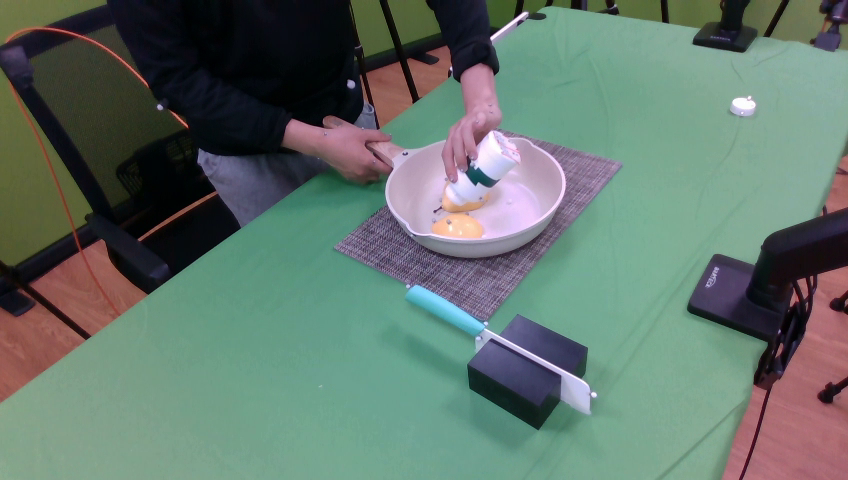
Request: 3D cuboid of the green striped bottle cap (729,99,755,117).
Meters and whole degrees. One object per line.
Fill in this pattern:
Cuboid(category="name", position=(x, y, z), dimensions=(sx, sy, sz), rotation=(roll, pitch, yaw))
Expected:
Cuboid(category="green striped bottle cap", position=(0.623, -0.259, 1.182), dimensions=(0.044, 0.020, 0.044), rotation=(-3, 40, 3))

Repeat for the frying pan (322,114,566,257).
Cuboid(category="frying pan", position=(0.004, -0.121, 1.039), dimensions=(0.484, 0.103, 0.308), rotation=(31, 52, 25))

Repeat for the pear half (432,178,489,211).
Cuboid(category="pear half", position=(0.057, -0.083, 1.024), dimensions=(0.110, 0.056, 0.075), rotation=(-33, 41, -24))

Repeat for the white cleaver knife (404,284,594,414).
Cuboid(category="white cleaver knife", position=(0.084, 0.135, 0.764), dimensions=(0.284, 0.066, 0.021), rotation=(28, 47, 31))

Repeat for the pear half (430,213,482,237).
Cuboid(category="pear half", position=(0.050, -0.024, 0.972), dimensions=(0.087, 0.031, 0.070), rotation=(15, 40, 17))

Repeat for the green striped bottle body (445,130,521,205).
Cuboid(category="green striped bottle body", position=(0.083, -0.103, 0.907), dimensions=(0.063, 0.119, 0.063), rotation=(30, 36, -24))
